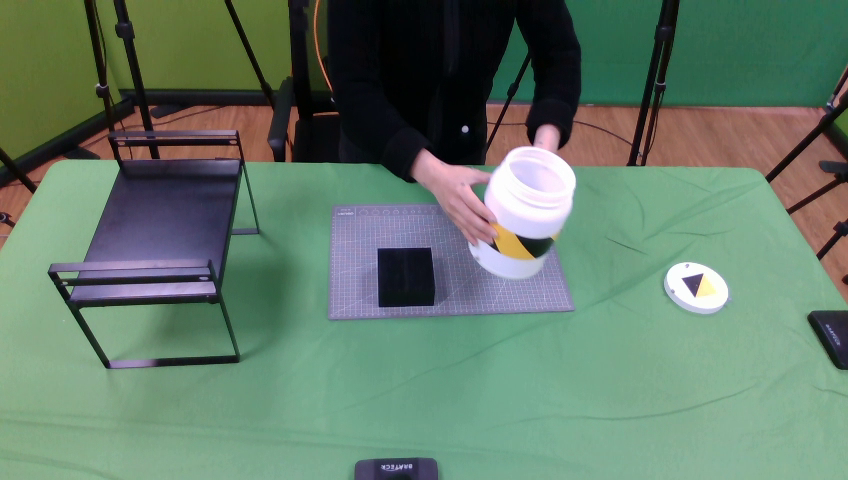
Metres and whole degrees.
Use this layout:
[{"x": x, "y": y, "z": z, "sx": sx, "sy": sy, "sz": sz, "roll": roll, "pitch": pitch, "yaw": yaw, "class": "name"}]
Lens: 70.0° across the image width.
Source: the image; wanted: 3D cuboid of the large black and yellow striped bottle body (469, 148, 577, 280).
[{"x": 0.155, "y": -0.041, "z": 0.951, "sx": 0.131, "sy": 0.185, "sz": 0.130, "roll": 8, "pitch": 47, "yaw": -9, "class": "large black and yellow striped bottle body"}]

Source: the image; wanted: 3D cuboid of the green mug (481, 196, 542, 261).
[{"x": 0.174, "y": -0.026, "z": 1.173, "sx": 0.125, "sy": 0.105, "sz": 0.092, "roll": -21, "pitch": 51, "yaw": -23, "class": "green mug"}]

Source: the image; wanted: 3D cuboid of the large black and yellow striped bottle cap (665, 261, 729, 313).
[{"x": 0.518, "y": 0.087, "z": 1.152, "sx": 0.115, "sy": 0.019, "sz": 0.114, "roll": 2, "pitch": 47, "yaw": -2, "class": "large black and yellow striped bottle cap"}]
